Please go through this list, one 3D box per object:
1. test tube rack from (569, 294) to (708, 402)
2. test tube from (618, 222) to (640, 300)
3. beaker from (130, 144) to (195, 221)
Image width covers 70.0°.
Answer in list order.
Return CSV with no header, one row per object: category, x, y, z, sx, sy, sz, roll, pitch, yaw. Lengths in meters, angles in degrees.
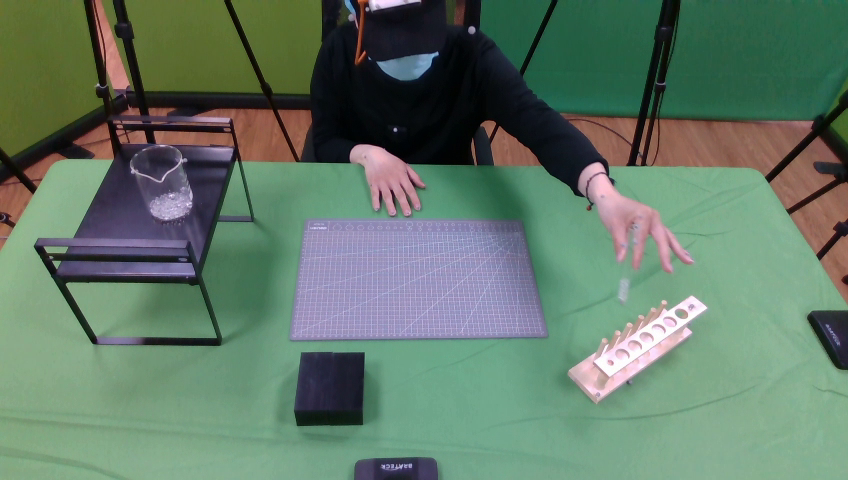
test tube rack,0.360,0.167,1.014,0.242,0.085,0.066,-25,53,-25
test tube,0.314,0.036,0.932,0.017,0.151,0.017,-4,38,3
beaker,-0.403,-0.085,0.944,0.074,0.101,0.083,-15,50,-17
